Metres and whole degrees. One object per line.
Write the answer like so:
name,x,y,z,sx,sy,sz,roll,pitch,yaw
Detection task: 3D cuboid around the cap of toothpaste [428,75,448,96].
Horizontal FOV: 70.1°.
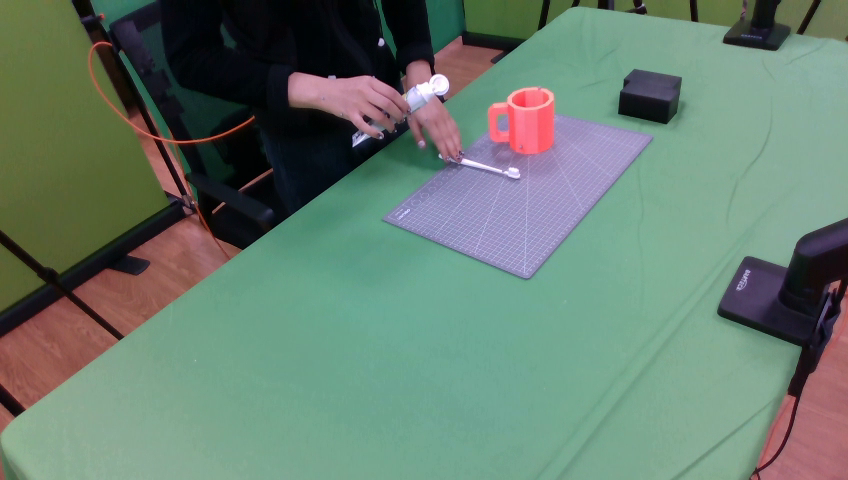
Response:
cap of toothpaste,0.023,-0.259,1.009,0.037,0.037,0.011,-20,0,-12

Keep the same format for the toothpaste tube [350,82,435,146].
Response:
toothpaste tube,-0.053,-0.212,1.002,0.165,0.035,0.055,-31,25,9

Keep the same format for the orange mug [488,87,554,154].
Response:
orange mug,0.185,-0.227,1.151,0.126,0.101,0.083,1,41,5

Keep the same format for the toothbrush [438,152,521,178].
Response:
toothbrush,0.100,-0.143,1.132,0.180,0.017,0.014,19,57,32
